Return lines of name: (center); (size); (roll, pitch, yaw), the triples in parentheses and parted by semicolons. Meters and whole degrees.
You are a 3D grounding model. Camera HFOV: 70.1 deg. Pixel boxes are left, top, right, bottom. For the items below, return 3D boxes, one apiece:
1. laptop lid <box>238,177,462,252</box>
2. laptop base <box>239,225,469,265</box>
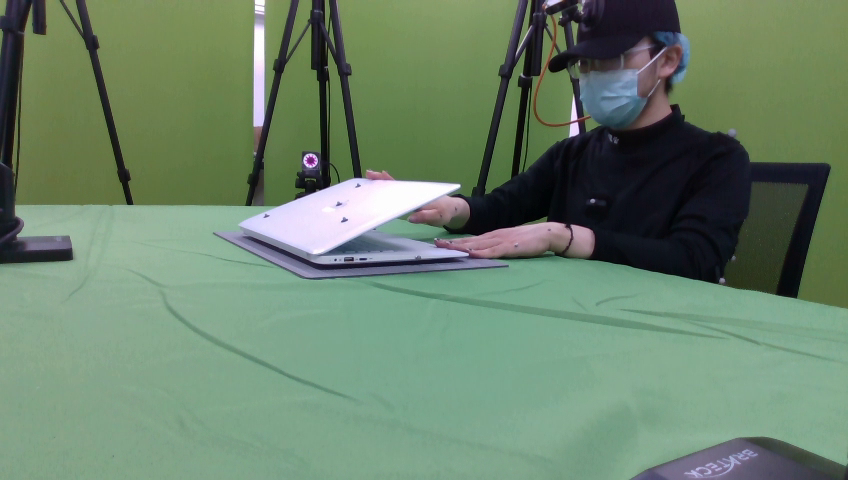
laptop lid: (-0.129, -0.051, 0.923); (0.242, 0.013, 0.355); (-25, 20, -26)
laptop base: (-0.124, 0.005, 0.936); (0.237, 0.023, 0.352); (2, 7, -33)
